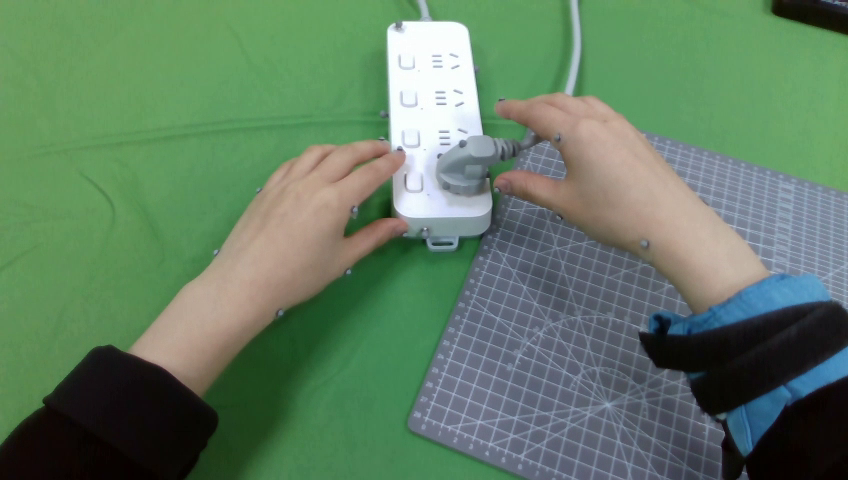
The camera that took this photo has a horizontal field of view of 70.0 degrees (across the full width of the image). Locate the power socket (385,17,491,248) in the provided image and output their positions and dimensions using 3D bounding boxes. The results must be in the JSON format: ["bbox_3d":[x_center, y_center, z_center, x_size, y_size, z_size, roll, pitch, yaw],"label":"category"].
[{"bbox_3d":[0.007,-0.097,0.476,0.072,0.033,0.224,0,57,-5],"label":"power socket"}]

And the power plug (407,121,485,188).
[{"bbox_3d":[0.008,-0.064,0.429,0.072,0.035,0.052,17,61,34],"label":"power plug"}]
